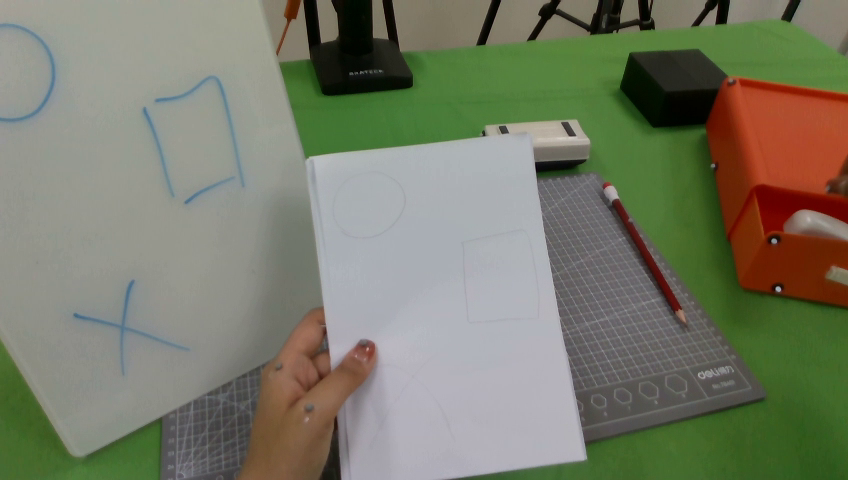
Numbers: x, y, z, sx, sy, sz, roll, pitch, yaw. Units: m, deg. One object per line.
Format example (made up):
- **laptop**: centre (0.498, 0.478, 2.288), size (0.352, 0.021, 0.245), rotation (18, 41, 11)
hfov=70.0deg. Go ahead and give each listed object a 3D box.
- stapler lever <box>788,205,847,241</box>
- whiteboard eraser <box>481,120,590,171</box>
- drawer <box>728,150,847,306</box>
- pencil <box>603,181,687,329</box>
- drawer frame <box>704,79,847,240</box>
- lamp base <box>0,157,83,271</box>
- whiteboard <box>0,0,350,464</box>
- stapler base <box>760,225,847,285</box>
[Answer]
- **stapler lever**: centre (0.389, 0.002, 0.545), size (0.117, 0.040, 0.026), rotation (20, 64, 11)
- **whiteboard eraser**: centre (0.124, -0.105, 0.679), size (0.113, 0.042, 0.055), rotation (-4, 45, -9)
- **drawer**: centre (0.403, -0.030, 0.593), size (0.194, 0.074, 0.210), rotation (10, 43, 8)
- **pencil**: centre (0.210, 0.008, 0.584), size (0.012, 0.012, 0.192), rotation (-5, 46, -8)
- **drawer frame**: centre (0.417, -0.074, 0.637), size (0.201, 0.083, 0.212), rotation (10, 43, 7)
- **lamp base**: centre (-0.413, -0.083, 0.512), size (0.178, 0.182, 0.160), rotation (19, 45, 19)
- **whiteboard**: centre (-0.210, -0.044, 0.438), size (0.217, 0.308, 0.142), rotation (-25, 31, -26)
- **stapler base**: centre (0.388, 0.016, 0.567), size (0.130, 0.024, 0.041), rotation (20, 64, 12)
